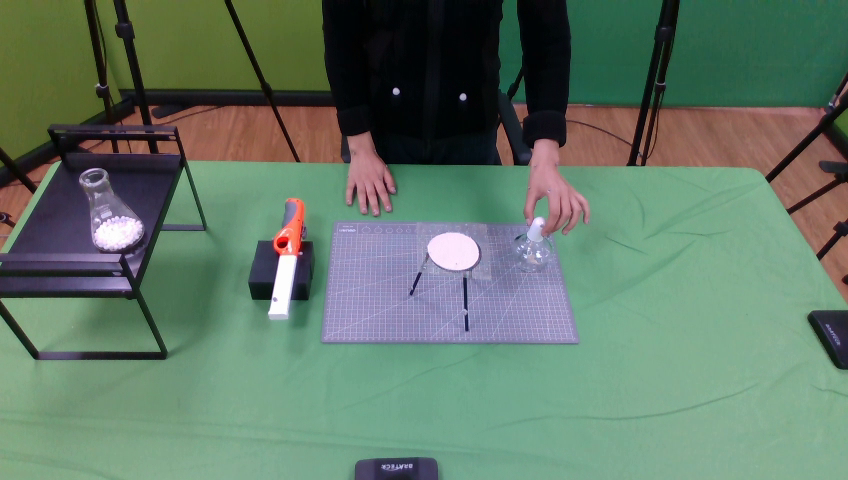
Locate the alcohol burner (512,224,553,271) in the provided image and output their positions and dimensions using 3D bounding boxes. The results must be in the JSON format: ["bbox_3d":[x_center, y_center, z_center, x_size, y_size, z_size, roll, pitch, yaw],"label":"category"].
[{"bbox_3d":[0.208,0.003,1.144,0.078,0.119,0.077,3,45,-3],"label":"alcohol burner"}]

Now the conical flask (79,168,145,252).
[{"bbox_3d":[-0.463,-0.048,0.888,0.075,0.122,0.075,2,46,-2],"label":"conical flask"}]

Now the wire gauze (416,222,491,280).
[{"bbox_3d":[0.047,0.014,1.013,0.125,0.011,0.120,3,47,-3],"label":"wire gauze"}]

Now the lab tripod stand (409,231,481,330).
[{"bbox_3d":[0.051,0.064,1.060,0.148,0.132,0.147,3,46,-3],"label":"lab tripod stand"}]

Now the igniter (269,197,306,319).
[{"bbox_3d":[-0.246,0.023,1.087,0.057,0.025,0.274,-1,49,-2],"label":"igniter"}]

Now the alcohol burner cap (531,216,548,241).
[{"bbox_3d":[0.215,-0.024,1.118,0.034,0.048,0.033,-1,50,2],"label":"alcohol burner cap"}]
